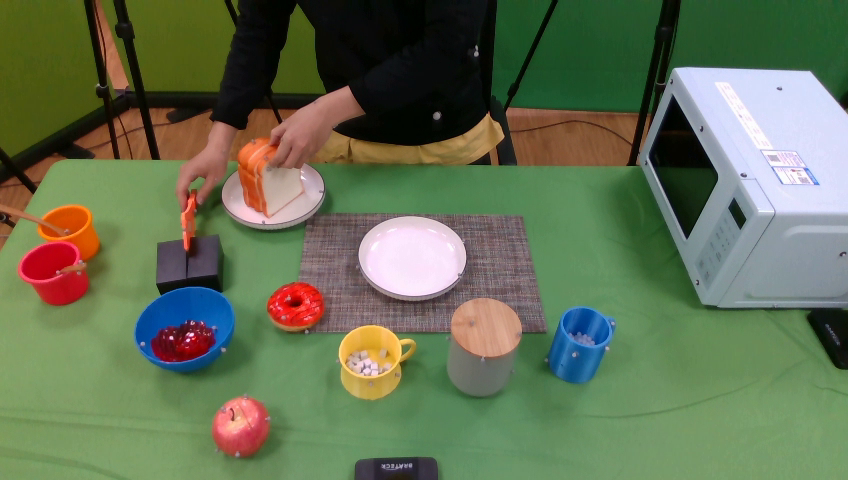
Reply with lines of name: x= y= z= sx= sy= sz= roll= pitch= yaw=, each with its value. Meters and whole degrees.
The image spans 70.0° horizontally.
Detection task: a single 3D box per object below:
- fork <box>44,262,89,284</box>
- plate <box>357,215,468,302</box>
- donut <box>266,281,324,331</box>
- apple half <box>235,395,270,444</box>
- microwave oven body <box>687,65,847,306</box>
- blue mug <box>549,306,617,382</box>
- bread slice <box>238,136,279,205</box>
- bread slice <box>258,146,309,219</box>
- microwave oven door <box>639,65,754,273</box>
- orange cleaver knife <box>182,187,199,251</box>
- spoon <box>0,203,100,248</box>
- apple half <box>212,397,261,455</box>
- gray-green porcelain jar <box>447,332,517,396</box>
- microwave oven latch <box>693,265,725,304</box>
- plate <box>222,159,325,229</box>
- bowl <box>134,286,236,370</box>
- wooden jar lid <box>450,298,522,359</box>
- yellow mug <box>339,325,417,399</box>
fork: x=-0.599 y=0.053 z=1.014 sx=0.207 sy=0.019 sz=0.028 roll=-14 pitch=29 yaw=45
plate: x=-0.022 y=0.037 z=1.141 sx=0.208 sy=0.039 sz=0.206 roll=2 pitch=46 yaw=-2
donut: x=-0.222 y=0.114 z=1.049 sx=0.099 sy=0.048 sz=0.098 roll=2 pitch=46 yaw=-2
apple half: x=-0.245 y=0.259 z=0.893 sx=0.033 sy=0.082 sz=0.081 roll=-29 pitch=55 yaw=-22
microwave oven body: x=0.669 y=-0.111 z=1.176 sx=0.326 sy=0.261 sz=0.439 roll=0 pitch=46 yaw=-3
blue mug: x=0.269 y=0.166 z=0.998 sx=0.116 sy=0.106 sz=0.082 roll=-19 pitch=51 yaw=-21
bread slice: x=-0.328 y=-0.147 z=1.224 sx=0.019 sy=0.132 sz=0.105 roll=29 pitch=50 yaw=26
bread slice: x=-0.283 y=-0.119 z=1.201 sx=0.018 sy=0.135 sz=0.107 roll=24 pitch=52 yaw=28
microwave oven door: x=0.522 y=-0.147 z=1.192 sx=0.039 sy=0.245 sz=0.353 roll=0 pitch=47 yaw=-3
orange cleaver knife: x=-0.445 y=-0.045 z=1.163 sx=0.012 sy=0.077 sz=0.210 roll=-5 pitch=24 yaw=-12
spoon: x=-0.683 y=-0.031 z=1.088 sx=0.195 sy=0.021 sz=0.041 roll=33 pitch=33 yaw=-38
apple half: x=-0.276 y=0.276 z=0.877 sx=0.053 sy=0.075 sz=0.080 roll=-29 pitch=58 yaw=-21
gray-green porcelain jar: x=0.091 y=0.178 z=0.960 sx=0.106 sy=0.127 sz=0.105 roll=2 pitch=47 yaw=-2
microwave oven latch: x=0.522 y=0.081 z=1.115 sx=0.030 sy=0.029 sz=0.078 roll=2 pitch=46 yaw=-1
plate: x=-0.308 y=-0.095 z=1.251 sx=0.209 sy=0.038 sz=0.208 roll=2 pitch=46 yaw=-2
bowl: x=-0.377 y=0.155 z=0.981 sx=0.151 sy=0.077 sz=0.150 roll=2 pitch=46 yaw=-2
wooden jar lid: x=0.093 y=0.135 z=0.914 sx=0.108 sy=0.021 sz=0.107 roll=3 pitch=48 yaw=-3
yellow mug: x=-0.072 y=0.191 z=0.978 sx=0.131 sy=0.064 sz=0.099 roll=-17 pitch=50 yaw=-20
